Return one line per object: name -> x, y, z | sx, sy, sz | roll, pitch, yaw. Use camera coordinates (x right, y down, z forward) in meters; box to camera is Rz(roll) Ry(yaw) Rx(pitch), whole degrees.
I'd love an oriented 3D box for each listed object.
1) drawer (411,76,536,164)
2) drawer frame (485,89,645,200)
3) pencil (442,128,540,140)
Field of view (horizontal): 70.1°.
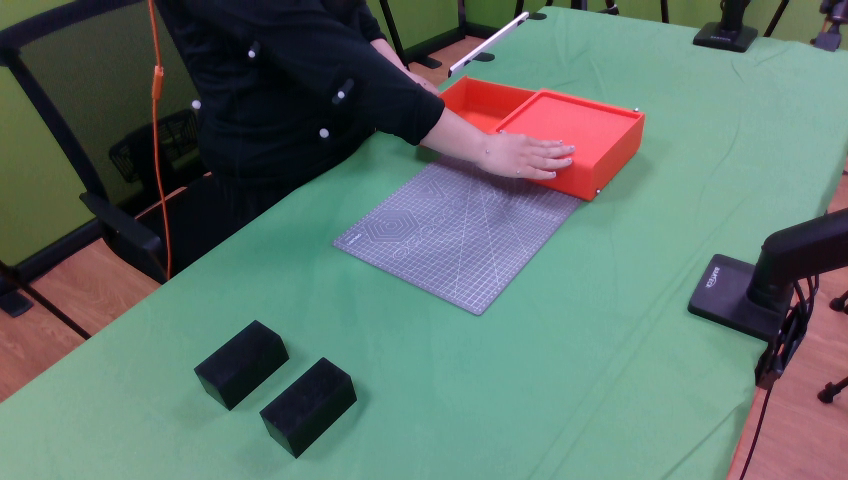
drawer -> 0.116, -0.236, 1.186 | 0.210, 0.073, 0.195 | 21, 46, 31
drawer frame -> 0.253, -0.179, 1.093 | 0.212, 0.083, 0.202 | 24, 49, 31
pencil -> 0.131, -0.207, 1.190 | 0.194, 0.012, 0.012 | -4, 40, 7
